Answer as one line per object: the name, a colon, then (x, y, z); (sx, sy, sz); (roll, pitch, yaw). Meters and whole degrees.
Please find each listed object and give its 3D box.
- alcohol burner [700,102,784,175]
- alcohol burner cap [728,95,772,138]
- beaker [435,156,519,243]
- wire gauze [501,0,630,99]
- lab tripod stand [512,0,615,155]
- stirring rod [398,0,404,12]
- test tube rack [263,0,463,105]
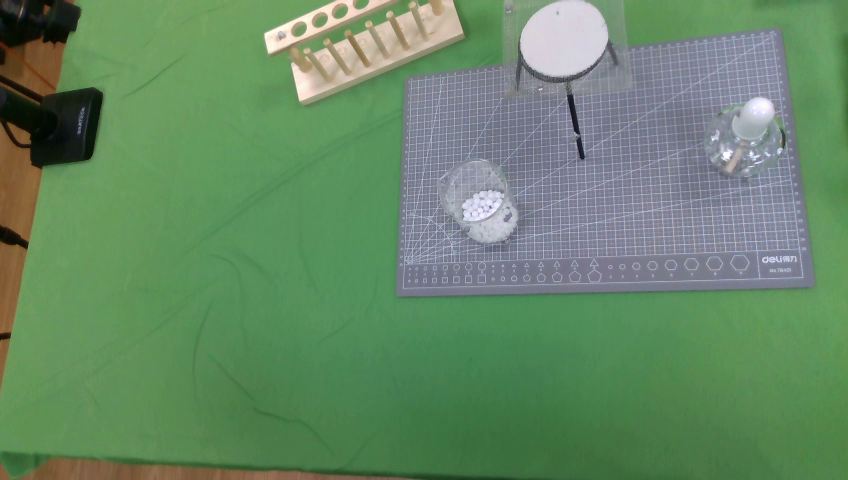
alcohol burner: (0.324, -0.111, 0.612); (0.078, 0.120, 0.077); (-4, 74, 15)
alcohol burner cap: (0.314, -0.120, 0.579); (0.034, 0.048, 0.033); (-3, 78, 13)
beaker: (0.063, -0.042, 0.683); (0.083, 0.101, 0.074); (17, 80, 22)
wire gauze: (0.139, -0.202, 0.610); (0.125, 0.011, 0.121); (-3, 77, 16)
lab tripod stand: (0.158, -0.184, 0.673); (0.148, 0.132, 0.147); (-4, 75, 15)
stirring rod: (-0.047, -0.339, 0.722); (0.006, 0.177, 0.014); (-17, 65, 6)
test tube rack: (-0.080, -0.269, 0.798); (0.242, 0.086, 0.066); (-19, 70, 11)
